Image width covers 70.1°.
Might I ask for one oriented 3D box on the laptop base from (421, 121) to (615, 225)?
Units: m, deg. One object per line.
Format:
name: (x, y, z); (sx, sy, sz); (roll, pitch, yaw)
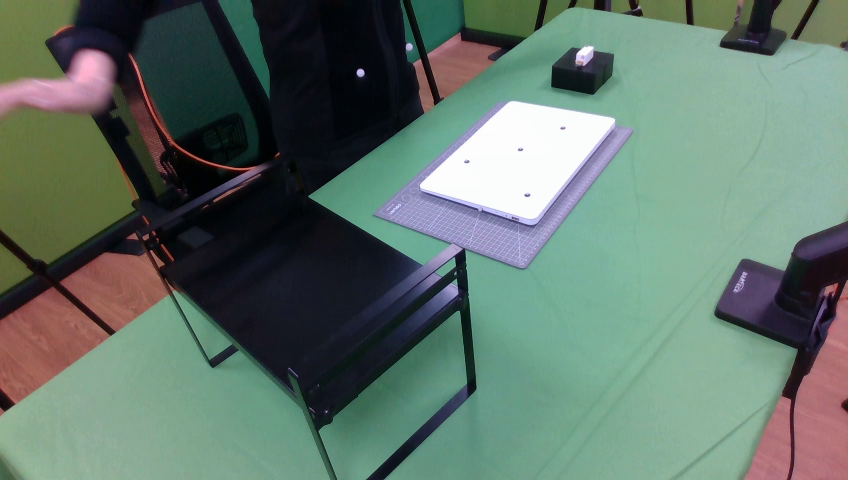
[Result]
laptop base: (0.183, -0.156, 1.132); (0.234, 0.023, 0.355); (18, 46, 31)

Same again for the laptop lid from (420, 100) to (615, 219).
laptop lid: (0.180, -0.166, 1.126); (0.240, 0.013, 0.357); (20, 47, 31)

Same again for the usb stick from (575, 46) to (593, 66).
usb stick: (0.343, -0.394, 1.302); (0.021, 0.027, 0.059); (22, 51, 27)
